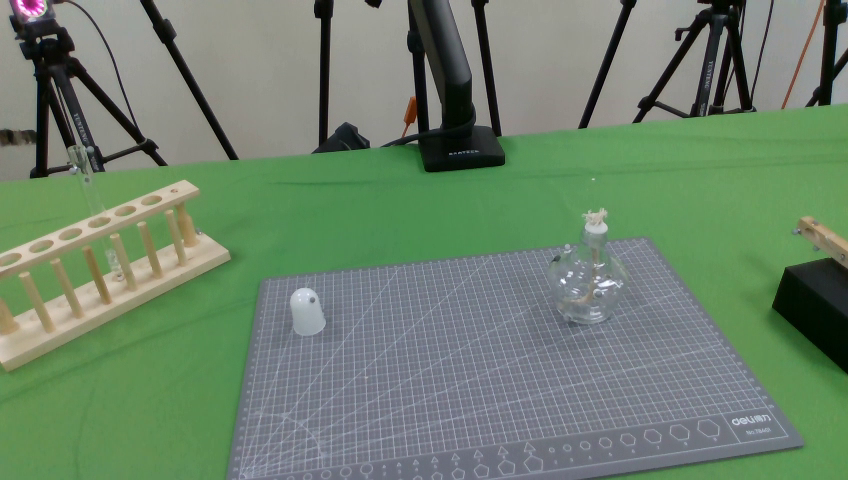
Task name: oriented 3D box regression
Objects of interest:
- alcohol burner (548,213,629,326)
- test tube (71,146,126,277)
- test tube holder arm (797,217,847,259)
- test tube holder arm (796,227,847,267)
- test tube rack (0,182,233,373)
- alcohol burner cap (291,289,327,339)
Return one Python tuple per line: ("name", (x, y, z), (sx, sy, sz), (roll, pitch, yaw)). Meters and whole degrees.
("alcohol burner", (0.160, 0.024, 0.582), (0.078, 0.120, 0.077), (-1, 37, 1))
("test tube", (-0.339, -0.026, 0.635), (0.017, 0.151, 0.017), (-1, 31, 1))
("test tube holder arm", (0.401, 0.003, 0.587), (0.015, 0.010, 0.087), (-10, 34, -11))
("test tube holder arm", (0.412, 0.032, 0.553), (0.015, 0.013, 0.176), (-10, 34, -11))
("test tube rack", (-0.335, 0.030, 0.641), (0.066, 0.086, 0.242), (27, 44, 37))
("alcohol burner cap", (-0.115, 0.070, 0.599), (0.034, 0.048, 0.033), (-2, 35, 2))
